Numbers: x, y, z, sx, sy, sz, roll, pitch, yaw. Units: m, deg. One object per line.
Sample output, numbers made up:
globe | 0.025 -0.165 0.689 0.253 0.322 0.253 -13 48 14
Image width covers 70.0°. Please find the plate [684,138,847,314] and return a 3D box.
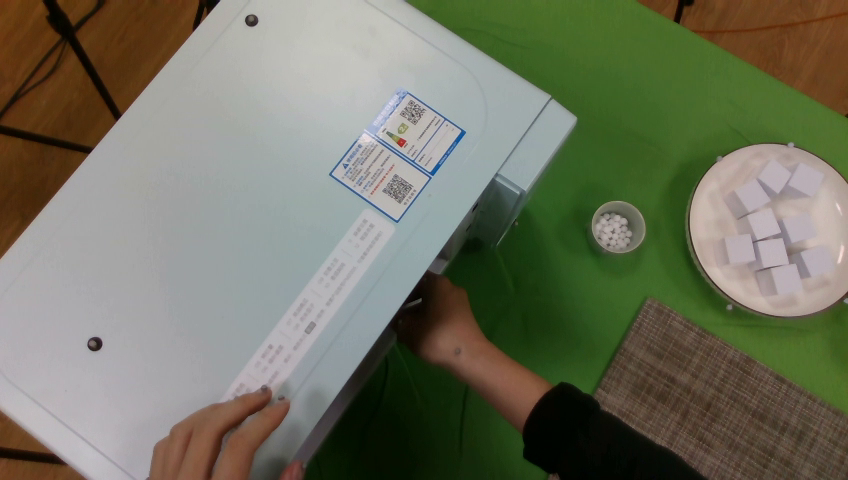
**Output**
plate | 0.404 -0.016 0.708 0.208 0.039 0.206 0 79 0

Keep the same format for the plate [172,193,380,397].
plate | -0.149 0.056 0.626 0.209 0.038 0.208 0 79 -1

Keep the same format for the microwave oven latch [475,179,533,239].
microwave oven latch | 0.091 -0.040 0.690 0.030 0.029 0.079 38 82 6

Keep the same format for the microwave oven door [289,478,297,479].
microwave oven door | 0.027 0.288 0.524 0.356 0.244 0.039 13 79 2

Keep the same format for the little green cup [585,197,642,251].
little green cup | 0.217 -0.016 0.704 0.061 0.039 0.061 0 80 0

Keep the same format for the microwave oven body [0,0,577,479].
microwave oven body | -0.132 0.000 0.582 0.325 0.261 0.441 35 82 5

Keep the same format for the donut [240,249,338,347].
donut | -0.135 0.058 0.610 0.099 0.048 0.098 0 82 -1
